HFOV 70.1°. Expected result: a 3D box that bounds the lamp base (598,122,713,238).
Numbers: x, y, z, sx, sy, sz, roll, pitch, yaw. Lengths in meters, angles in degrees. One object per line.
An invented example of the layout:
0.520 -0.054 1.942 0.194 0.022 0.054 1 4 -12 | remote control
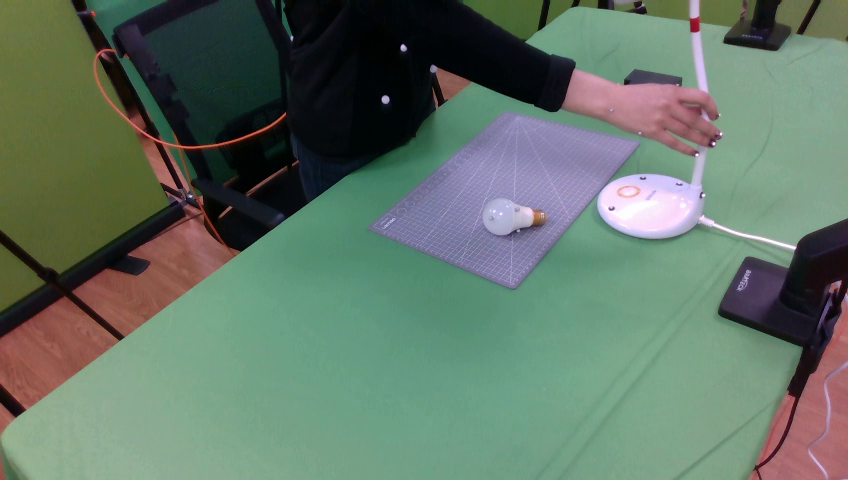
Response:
0.366 -0.113 0.924 0.178 0.181 0.161 18 47 25 | lamp base

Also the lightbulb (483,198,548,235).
0.148 -0.037 0.973 0.108 0.059 0.059 1 39 -12 | lightbulb

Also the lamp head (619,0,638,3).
0.291 -0.340 0.712 0.122 0.113 0.112 11 44 30 | lamp head
